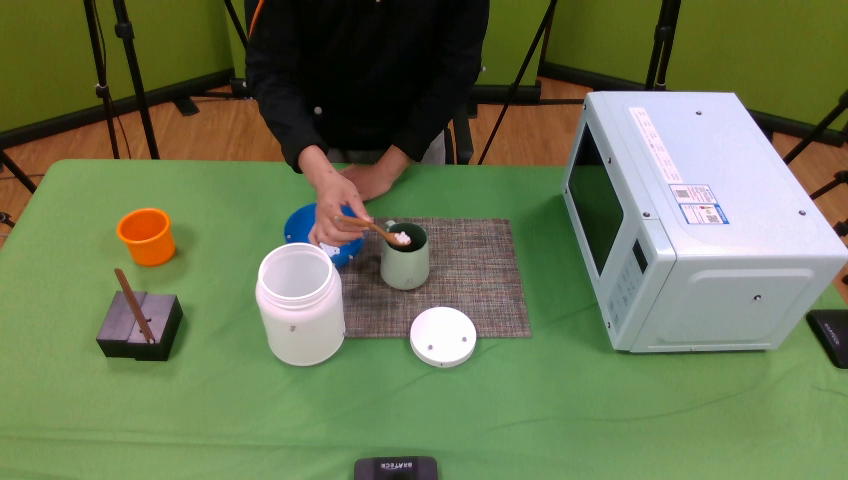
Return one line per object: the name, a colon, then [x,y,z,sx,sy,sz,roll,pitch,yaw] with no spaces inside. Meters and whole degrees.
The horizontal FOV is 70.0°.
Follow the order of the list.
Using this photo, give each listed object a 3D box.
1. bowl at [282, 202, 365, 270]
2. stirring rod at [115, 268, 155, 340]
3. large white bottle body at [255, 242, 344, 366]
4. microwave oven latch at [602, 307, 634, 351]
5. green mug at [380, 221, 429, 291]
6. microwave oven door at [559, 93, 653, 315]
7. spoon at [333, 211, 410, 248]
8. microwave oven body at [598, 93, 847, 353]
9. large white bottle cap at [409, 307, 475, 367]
bowl: [-0.186,0.006,1.136,0.151,0.077,0.150,3,46,-3]
stirring rod: [-0.479,0.103,0.999,0.014,0.006,0.175,7,32,-49]
large white bottle body: [-0.196,0.102,0.967,0.131,0.185,0.130,2,49,-2]
microwave oven latch: [0.332,0.153,1.044,0.030,0.029,0.078,0,45,-4]
green mug: [-0.043,0.020,1.116,0.092,0.105,0.124,-20,50,-21]
microwave oven door: [0.327,-0.074,1.123,0.039,0.245,0.353,-1,46,-5]
spoon: [-0.085,-0.019,1.000,0.041,0.195,0.021,38,95,36]
microwave oven body: [0.475,-0.041,1.109,0.326,0.261,0.438,-1,45,-4]
large white bottle cap: [0.031,0.165,1.041,0.115,0.018,0.114,2,47,-2]
